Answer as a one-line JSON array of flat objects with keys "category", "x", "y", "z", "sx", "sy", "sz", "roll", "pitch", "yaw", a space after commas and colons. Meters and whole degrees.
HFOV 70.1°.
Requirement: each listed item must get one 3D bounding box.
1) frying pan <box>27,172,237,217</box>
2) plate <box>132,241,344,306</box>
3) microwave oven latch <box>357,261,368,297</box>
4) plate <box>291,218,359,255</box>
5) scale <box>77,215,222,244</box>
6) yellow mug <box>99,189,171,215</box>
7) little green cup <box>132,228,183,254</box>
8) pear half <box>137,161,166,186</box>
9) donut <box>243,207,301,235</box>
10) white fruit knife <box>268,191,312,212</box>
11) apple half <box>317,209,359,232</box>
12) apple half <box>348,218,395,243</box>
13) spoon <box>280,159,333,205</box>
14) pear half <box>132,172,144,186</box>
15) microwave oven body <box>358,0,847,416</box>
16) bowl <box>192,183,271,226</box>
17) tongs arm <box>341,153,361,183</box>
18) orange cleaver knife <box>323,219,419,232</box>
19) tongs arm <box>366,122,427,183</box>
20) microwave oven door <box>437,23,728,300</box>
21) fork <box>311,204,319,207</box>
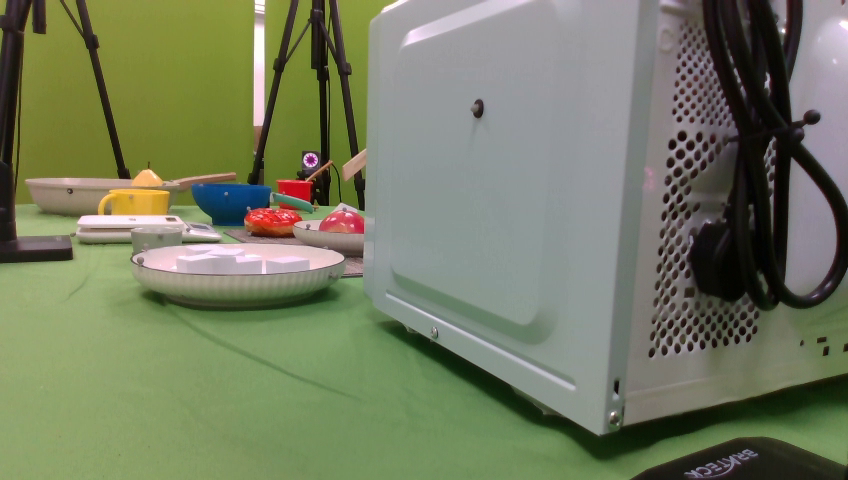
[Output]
[{"category": "frying pan", "x": -0.624, "y": -0.118, "z": 1.387, "sx": 0.305, "sy": 0.102, "sz": 0.490, "roll": 8, "pitch": 17, "yaw": 32}, {"category": "plate", "x": -0.187, "y": 0.033, "z": 0.625, "sx": 0.208, "sy": 0.039, "sz": 0.207, "roll": 2, "pitch": 8, "yaw": 0}, {"category": "microwave oven latch", "x": -0.019, "y": 0.033, "z": 0.531, "sx": 0.079, "sy": 0.029, "sz": 0.030, "roll": -1, "pitch": 7, "yaw": -27}, {"category": "plate", "x": -0.098, "y": -0.007, "z": 0.928, "sx": 0.209, "sy": 0.038, "sz": 0.209, "roll": 2, "pitch": 8, "yaw": 0}, {"category": "scale", "x": -0.434, "y": -0.019, "z": 0.963, "sx": 0.202, "sy": 0.031, "sz": 0.148, "roll": -1, "pitch": 9, "yaw": -27}, {"category": "yellow mug", "x": -0.518, "y": -0.055, "z": 1.080, "sx": 0.099, "sy": 0.064, "sz": 0.131, "roll": 6, "pitch": 9, "yaw": 26}, {"category": "little green cup", "x": -0.342, "y": 0.006, "z": 0.779, "sx": 0.061, "sy": 0.038, "sz": 0.061, "roll": 2, "pitch": 8, "yaw": 0}, {"category": "pear half", "x": -0.602, "y": -0.120, "z": 1.354, "sx": 0.056, "sy": 0.110, "sz": 0.076, "roll": 4, "pitch": 11, "yaw": 6}, {"category": "donut", "x": -0.261, "y": -0.032, "z": 1.043, "sx": 0.099, "sy": 0.048, "sz": 0.099, "roll": 4, "pitch": 9, "yaw": 0}, {"category": "white fruit knife", "x": -0.364, "y": -0.105, "z": 1.464, "sx": 0.208, "sy": 0.027, "sz": 0.016, "roll": 15, "pitch": 0, "yaw": -34}, {"category": "apple half", "x": -0.121, "y": -0.020, "z": 0.900, "sx": 0.080, "sy": 0.053, "sz": 0.075, "roll": 3, "pitch": 11, "yaw": 14}, {"category": "apple half", "x": -0.083, "y": -0.018, "z": 0.966, "sx": 0.081, "sy": 0.033, "sz": 0.081, "roll": 7, "pitch": 10, "yaw": -1}, {"category": "spoon", "x": -0.317, "y": -0.159, "z": 1.640, "sx": 0.194, "sy": 0.022, "sz": 0.041, "roll": -49, "pitch": 32, "yaw": -20}, {"category": "pear half", "x": -0.638, "y": -0.113, "z": 1.361, "sx": 0.031, "sy": 0.088, "sz": 0.070, "roll": 5, "pitch": 11, "yaw": 4}, {"category": "microwave oven body", "x": 0.211, "y": -0.047, "z": 0.475, "sx": 0.444, "sy": 0.260, "sz": 0.324, "roll": -1, "pitch": 7, "yaw": -28}, {"category": "bowl", "x": -0.382, "y": -0.071, "z": 1.202, "sx": 0.151, "sy": 0.077, "sz": 0.151, "roll": 3, "pitch": 7, "yaw": 0}, {"category": "tongs arm", "x": -0.079, "y": -0.170, "z": 1.124, "sx": 0.028, "sy": 0.028, "sz": 0.388, "roll": -5, "pitch": 20, "yaw": 17}, {"category": "orange cleaver knife", "x": -0.097, "y": -0.027, "z": 1.152, "sx": 0.077, "sy": 0.012, "sz": 0.212, "roll": 0, "pitch": 6, "yaw": 41}, {"category": "tongs arm", "x": -0.052, "y": -0.171, "z": 1.117, "sx": 0.050, "sy": 0.026, "sz": 0.385, "roll": 0, "pitch": 21, "yaw": 18}, {"category": "microwave oven door", "x": 0.180, "y": -0.072, "z": 0.621, "sx": 0.358, "sy": 0.243, "sz": 0.039, "roll": -2, "pitch": 8, "yaw": -29}, {"category": "fork", "x": -0.356, "y": -0.105, "z": 1.526, "sx": 0.208, "sy": 0.018, "sz": 0.028, "roll": 16, "pitch": -5, "yaw": -41}]
